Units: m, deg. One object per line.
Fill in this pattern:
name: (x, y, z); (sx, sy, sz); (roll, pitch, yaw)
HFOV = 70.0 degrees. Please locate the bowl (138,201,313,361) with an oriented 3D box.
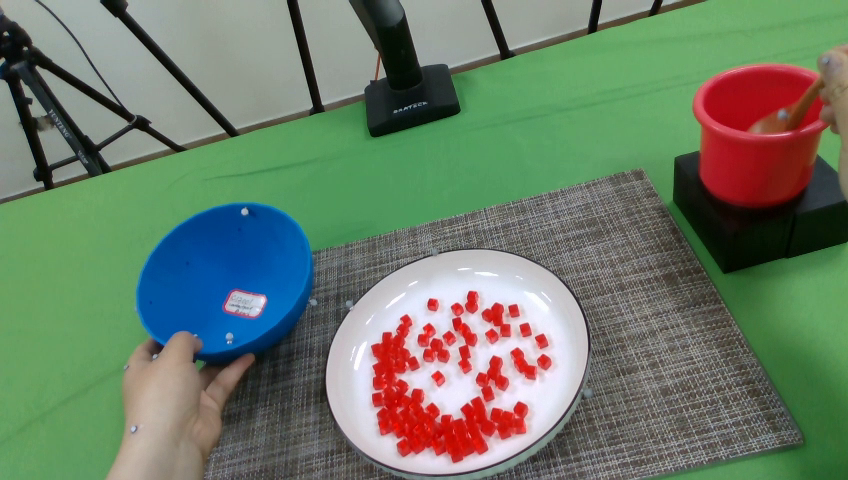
bowl: (-0.165, 0.048, 0.545); (0.151, 0.077, 0.150); (-3, 56, 5)

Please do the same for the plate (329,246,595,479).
plate: (0.029, 0.091, 0.478); (0.207, 0.039, 0.205); (-10, 43, 10)

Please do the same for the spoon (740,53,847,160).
spoon: (0.259, -0.098, 0.389); (0.021, 0.195, 0.041); (30, 78, 10)
